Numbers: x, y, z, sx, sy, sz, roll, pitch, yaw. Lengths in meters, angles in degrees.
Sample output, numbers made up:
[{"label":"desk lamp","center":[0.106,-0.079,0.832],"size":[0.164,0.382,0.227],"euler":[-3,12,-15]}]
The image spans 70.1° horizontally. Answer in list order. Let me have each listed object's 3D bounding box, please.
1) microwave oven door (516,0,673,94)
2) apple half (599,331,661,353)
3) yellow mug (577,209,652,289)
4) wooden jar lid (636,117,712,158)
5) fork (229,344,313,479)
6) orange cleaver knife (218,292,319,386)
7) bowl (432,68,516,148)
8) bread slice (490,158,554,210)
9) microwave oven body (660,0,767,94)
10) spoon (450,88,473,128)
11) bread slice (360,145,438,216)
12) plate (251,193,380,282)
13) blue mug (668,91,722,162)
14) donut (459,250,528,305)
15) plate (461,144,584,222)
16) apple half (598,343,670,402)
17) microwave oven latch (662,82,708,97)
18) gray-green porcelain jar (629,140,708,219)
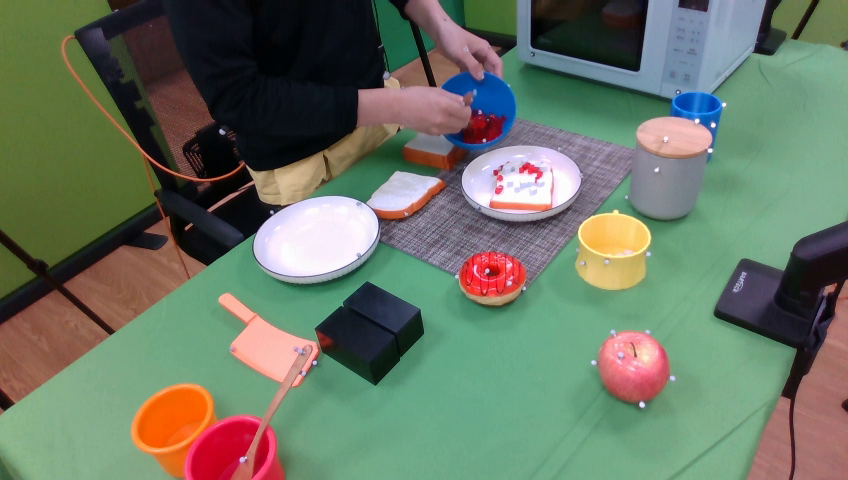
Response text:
[{"label":"microwave oven door","center":[0.344,-0.458,1.257],"size":[0.353,0.245,0.039],"euler":[26,51,33]},{"label":"apple half","center":[0.249,0.134,0.738],"size":[0.081,0.081,0.032],"euler":[-1,46,7]},{"label":"yellow mug","center":[0.279,0.004,0.893],"size":[0.099,0.064,0.130],"euler":[5,42,14]},{"label":"wooden jar lid","center":[0.377,-0.151,0.917],"size":[0.108,0.021,0.108],"euler":[-2,42,2]},{"label":"fork","center":[-0.173,0.205,0.662],"size":[0.028,0.019,0.207],"euler":[29,94,36]},{"label":"orange cleaver knife","center":[-0.235,0.136,0.850],"size":[0.209,0.012,0.077],"euler":[25,56,30]},{"label":"bowl","center":[0.092,-0.228,1.107],"size":[0.151,0.077,0.151],"euler":[-1,74,3]},{"label":"bread slice","center":[0.174,-0.099,1.048],"size":[0.104,0.019,0.131],"euler":[4,44,12]},{"label":"microwave oven body","center":[0.473,-0.516,1.313],"size":[0.438,0.261,0.327],"euler":[26,51,34]},{"label":"spoon","center":[0.067,-0.222,1.024],"size":[0.041,0.194,0.021],"euler":[-8,81,-1]},{"label":"bread slice","center":[-0.053,-0.103,1.046],"size":[0.106,0.018,0.134],"euler":[19,67,22]},{"label":"plate","center":[-0.174,-0.001,0.984],"size":[0.209,0.038,0.208],"euler":[-4,40,3]},{"label":"blue mug","center":[0.474,-0.207,1.079],"size":[0.082,0.106,0.116],"euler":[4,42,13]},{"label":"donut","center":[0.100,0.053,0.872],"size":[0.099,0.048,0.098],"euler":[-4,40,4]},{"label":"plate","center":[0.168,-0.095,1.040],"size":[0.207,0.039,0.206],"euler":[-4,40,4]},{"label":"apple half","center":[0.247,0.161,0.710],"size":[0.081,0.075,0.053],"euler":[2,47,5]},{"label":"microwave oven latch","center":[0.518,-0.298,1.203],"size":[0.078,0.029,0.030],"euler":[28,53,35]},{"label":"gray-green porcelain jar","center":[0.383,-0.105,0.958],"size":[0.106,0.127,0.105],"euler":[-4,41,4]}]
